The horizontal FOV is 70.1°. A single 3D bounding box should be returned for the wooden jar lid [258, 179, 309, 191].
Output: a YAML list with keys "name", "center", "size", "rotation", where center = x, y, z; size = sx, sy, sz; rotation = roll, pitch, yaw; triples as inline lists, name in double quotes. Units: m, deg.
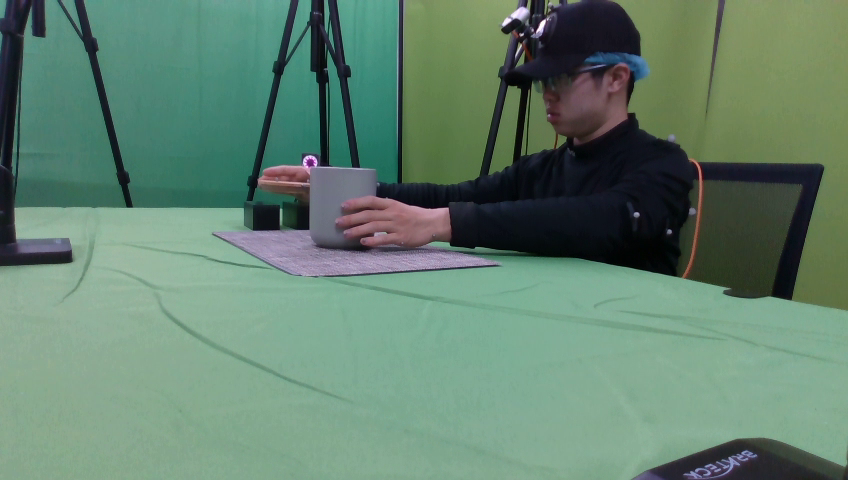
- name: "wooden jar lid"
  center: [-0.279, -0.111, 1.219]
  size: [0.108, 0.020, 0.108]
  rotation: [5, 6, 0]

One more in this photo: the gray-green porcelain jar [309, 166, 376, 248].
- name: "gray-green porcelain jar"
  center: [-0.130, -0.054, 0.966]
  size: [0.106, 0.126, 0.106]
  rotation: [2, 8, 0]
